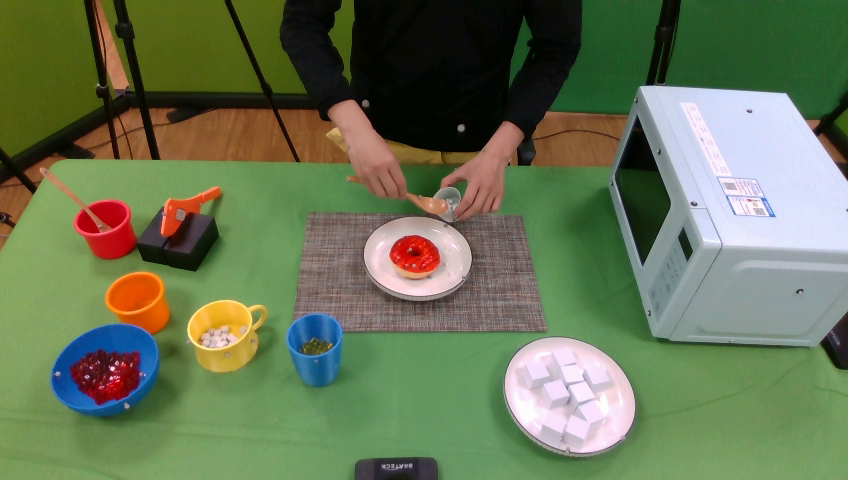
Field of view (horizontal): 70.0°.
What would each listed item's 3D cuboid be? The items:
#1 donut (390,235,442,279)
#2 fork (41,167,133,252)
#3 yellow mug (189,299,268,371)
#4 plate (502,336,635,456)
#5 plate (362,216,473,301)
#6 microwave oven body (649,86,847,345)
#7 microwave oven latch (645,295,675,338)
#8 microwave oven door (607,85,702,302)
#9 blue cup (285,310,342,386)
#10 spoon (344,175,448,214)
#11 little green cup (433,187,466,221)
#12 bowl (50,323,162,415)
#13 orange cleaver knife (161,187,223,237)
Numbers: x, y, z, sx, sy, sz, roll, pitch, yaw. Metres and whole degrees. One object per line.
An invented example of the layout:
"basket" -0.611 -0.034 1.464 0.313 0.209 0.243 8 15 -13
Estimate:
"donut" -0.015 0.032 1.135 0.099 0.048 0.098 3 44 -3
"fork" -0.624 -0.056 1.121 0.208 0.018 0.028 49 51 -15
"yellow mug" -0.316 0.148 1.002 0.131 0.064 0.099 -32 56 -31
"plate" 0.225 0.248 0.963 0.208 0.039 0.206 2 46 -2
"plate" -0.012 0.038 1.144 0.209 0.038 0.208 2 45 -2
"microwave oven body" 0.568 -0.053 1.118 0.326 0.261 0.439 2 45 -1
"microwave oven latch" 0.412 0.134 1.062 0.030 0.029 0.078 3 45 0
"microwave oven door" 0.423 -0.094 1.141 0.039 0.245 0.353 2 46 -1
"blue cup" -0.170 0.179 0.958 0.093 0.101 0.092 2 44 -1
"spoon" -0.048 -0.085 1.076 0.194 0.022 0.041 20 44 -18
"little green cup" 0.048 -0.066 1.143 0.061 0.039 0.061 -11 69 30
"bowl" -0.472 0.209 0.924 0.151 0.077 0.150 3 45 -2
"orange cleaver knife" -0.448 -0.058 1.181 0.012 0.077 0.211 13 17 6
